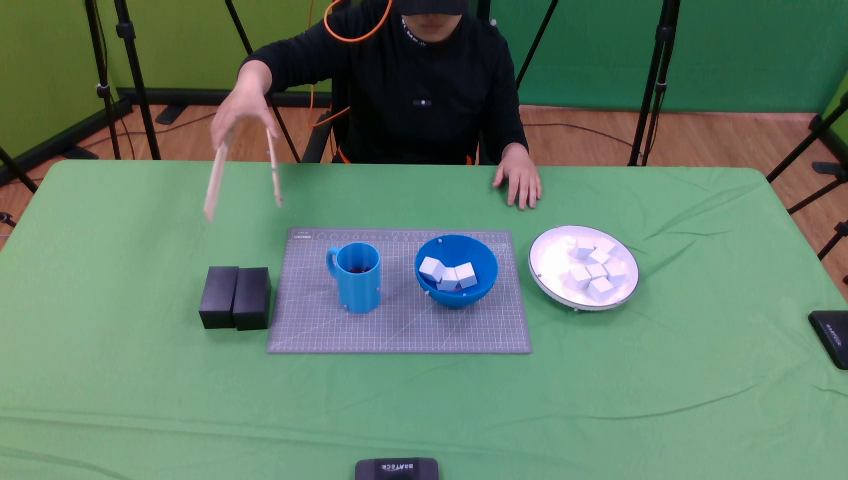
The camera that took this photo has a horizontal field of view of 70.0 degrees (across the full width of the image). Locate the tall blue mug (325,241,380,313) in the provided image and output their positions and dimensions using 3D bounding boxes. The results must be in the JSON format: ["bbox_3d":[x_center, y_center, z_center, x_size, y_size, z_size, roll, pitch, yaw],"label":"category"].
[{"bbox_3d":[-0.130,0.063,1.062,0.107,0.108,0.077,9,47,5],"label":"tall blue mug"}]

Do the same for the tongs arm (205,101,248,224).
[{"bbox_3d":[-0.354,-0.152,1.089,0.028,0.028,0.385,-15,39,4],"label":"tongs arm"}]

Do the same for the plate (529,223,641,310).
[{"bbox_3d":[0.303,0.053,1.156,0.209,0.038,0.208,2,46,-1],"label":"plate"}]

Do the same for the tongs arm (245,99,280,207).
[{"bbox_3d":[-0.296,-0.168,1.093,0.051,0.027,0.382,-17,39,-4],"label":"tongs arm"}]

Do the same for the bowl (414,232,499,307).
[{"bbox_3d":[0.056,0.067,1.093,0.151,0.077,0.150,2,46,-2],"label":"bowl"}]
